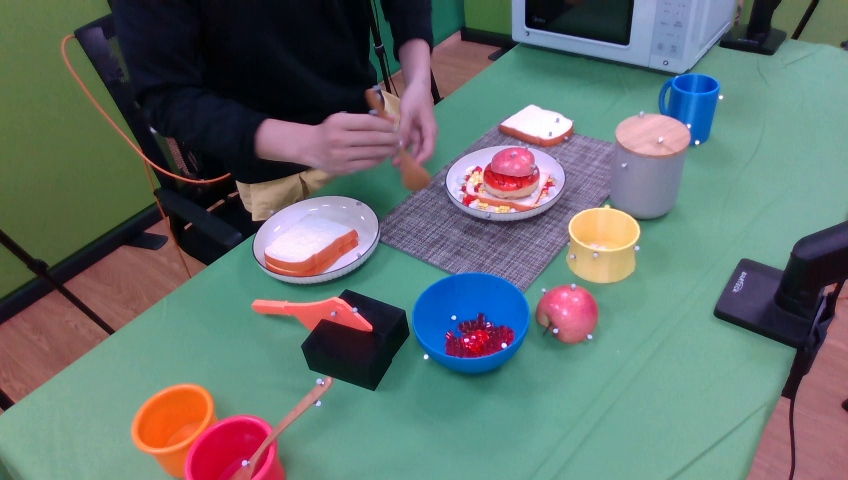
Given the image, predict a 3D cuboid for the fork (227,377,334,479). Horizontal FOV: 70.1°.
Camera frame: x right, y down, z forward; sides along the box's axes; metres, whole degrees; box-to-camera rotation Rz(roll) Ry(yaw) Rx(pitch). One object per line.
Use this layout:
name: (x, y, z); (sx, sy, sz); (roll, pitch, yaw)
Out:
fork: (-0.162, 0.216, 0.647); (0.207, 0.019, 0.028); (-49, 41, 16)

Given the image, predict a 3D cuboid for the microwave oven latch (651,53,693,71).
microwave oven latch: (0.532, -0.387, 1.301); (0.078, 0.029, 0.030); (27, 52, 34)

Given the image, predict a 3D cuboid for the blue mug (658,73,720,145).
blue mug: (0.483, -0.250, 1.127); (0.082, 0.106, 0.115); (-26, 44, -19)

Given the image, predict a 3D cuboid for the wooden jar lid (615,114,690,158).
wooden jar lid: (0.347, -0.155, 0.923); (0.108, 0.021, 0.108); (-3, 43, 4)

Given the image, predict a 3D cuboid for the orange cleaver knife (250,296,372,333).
orange cleaver knife: (-0.159, 0.103, 0.828); (0.210, 0.078, 0.012); (-4, 43, 39)

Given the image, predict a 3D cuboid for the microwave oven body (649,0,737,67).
microwave oven body: (0.475, -0.602, 1.411); (0.438, 0.261, 0.327); (23, 50, 32)

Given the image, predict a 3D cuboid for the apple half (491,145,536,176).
apple half: (0.147, -0.138, 0.994); (0.081, 0.033, 0.081); (0, 37, 0)

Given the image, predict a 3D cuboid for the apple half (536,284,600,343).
apple half: (0.196, 0.091, 0.815); (0.075, 0.053, 0.080); (-22, 42, -20)

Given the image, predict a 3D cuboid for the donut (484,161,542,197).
donut: (0.149, -0.110, 1.016); (0.099, 0.048, 0.098); (-4, 40, 4)

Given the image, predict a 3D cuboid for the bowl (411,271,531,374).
bowl: (0.062, 0.119, 0.780); (0.151, 0.077, 0.150); (-4, 40, 4)

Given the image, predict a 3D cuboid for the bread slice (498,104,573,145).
bread slice: (0.231, -0.231, 1.205); (0.105, 0.019, 0.130); (-36, 47, -28)

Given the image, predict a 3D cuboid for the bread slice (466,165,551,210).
bread slice: (0.141, -0.093, 1.041); (0.133, 0.018, 0.107); (8, 43, 20)

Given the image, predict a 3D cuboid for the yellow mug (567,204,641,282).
yellow mug: (0.268, -0.005, 0.905); (0.099, 0.064, 0.130); (6, 42, 16)

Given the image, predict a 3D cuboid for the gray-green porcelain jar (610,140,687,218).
gray-green porcelain jar: (0.354, -0.106, 0.964); (0.106, 0.127, 0.105); (-4, 41, 4)

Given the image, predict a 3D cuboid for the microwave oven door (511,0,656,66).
microwave oven door: (0.350, -0.539, 1.348); (0.353, 0.245, 0.039); (24, 50, 31)

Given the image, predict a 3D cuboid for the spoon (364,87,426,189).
spoon: (-0.042, -0.131, 0.816); (0.041, 0.195, 0.021); (-20, 47, 9)

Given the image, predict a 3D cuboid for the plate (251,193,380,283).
plate: (-0.173, -0.001, 0.984); (0.209, 0.038, 0.208); (-4, 41, 4)

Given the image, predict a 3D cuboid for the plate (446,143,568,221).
plate: (0.142, -0.097, 1.045); (0.207, 0.039, 0.206); (-4, 40, 4)
